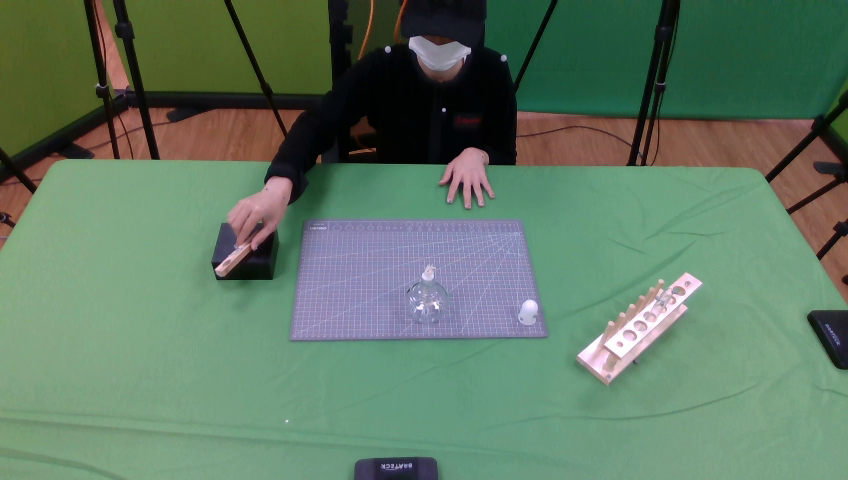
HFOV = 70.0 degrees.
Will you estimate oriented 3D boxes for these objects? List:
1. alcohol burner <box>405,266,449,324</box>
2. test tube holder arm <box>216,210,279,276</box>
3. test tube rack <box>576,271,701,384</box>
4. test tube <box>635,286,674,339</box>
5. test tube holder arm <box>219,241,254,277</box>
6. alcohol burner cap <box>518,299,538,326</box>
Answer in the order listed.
[{"bbox_3d":[0.005,0.089,1.043,0.078,0.120,0.077,1,45,-1],"label":"alcohol burner"},{"bbox_3d":[-0.320,0.002,1.107,0.013,0.015,0.178,21,48,12],"label":"test tube holder arm"},{"bbox_3d":[0.373,0.138,1.047,0.242,0.085,0.066,-31,56,-29],"label":"test tube rack"},{"bbox_3d":[0.375,0.123,0.994,0.017,0.151,0.017,2,52,-2],"label":"test tube"},{"bbox_3d":[-0.333,0.032,1.076,0.010,0.015,0.087,23,48,13],"label":"test tube holder arm"},{"bbox_3d":[0.186,0.126,1.072,0.034,0.048,0.033,1,45,-1],"label":"alcohol burner cap"}]
